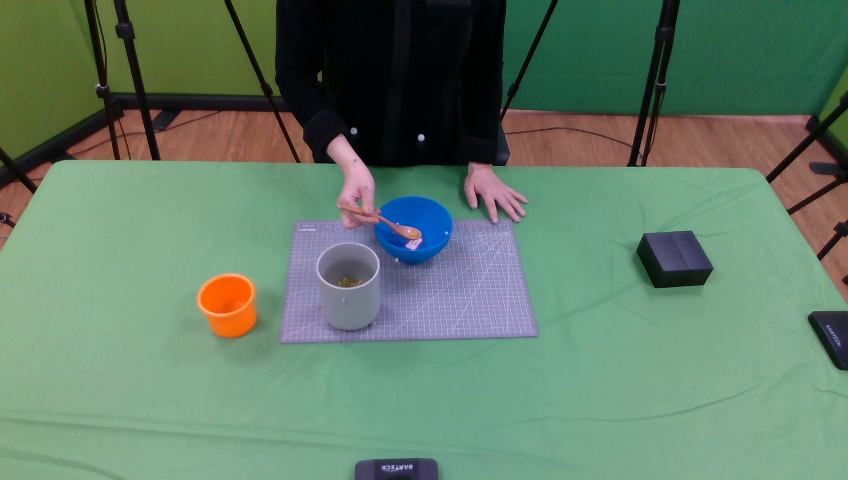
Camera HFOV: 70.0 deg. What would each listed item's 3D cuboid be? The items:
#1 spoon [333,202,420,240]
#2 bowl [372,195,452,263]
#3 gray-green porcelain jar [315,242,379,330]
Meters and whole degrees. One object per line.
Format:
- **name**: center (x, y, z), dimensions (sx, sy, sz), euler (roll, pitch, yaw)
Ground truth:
- **spoon**: center (-0.083, -0.038, 1.103), dimensions (0.195, 0.021, 0.041), euler (25, 29, -39)
- **bowl**: center (-0.023, -0.008, 1.161), dimensions (0.151, 0.077, 0.150), euler (2, 46, -2)
- **gray-green porcelain jar**: center (-0.129, 0.084, 1.031), dimensions (0.106, 0.127, 0.105), euler (2, 46, -2)
